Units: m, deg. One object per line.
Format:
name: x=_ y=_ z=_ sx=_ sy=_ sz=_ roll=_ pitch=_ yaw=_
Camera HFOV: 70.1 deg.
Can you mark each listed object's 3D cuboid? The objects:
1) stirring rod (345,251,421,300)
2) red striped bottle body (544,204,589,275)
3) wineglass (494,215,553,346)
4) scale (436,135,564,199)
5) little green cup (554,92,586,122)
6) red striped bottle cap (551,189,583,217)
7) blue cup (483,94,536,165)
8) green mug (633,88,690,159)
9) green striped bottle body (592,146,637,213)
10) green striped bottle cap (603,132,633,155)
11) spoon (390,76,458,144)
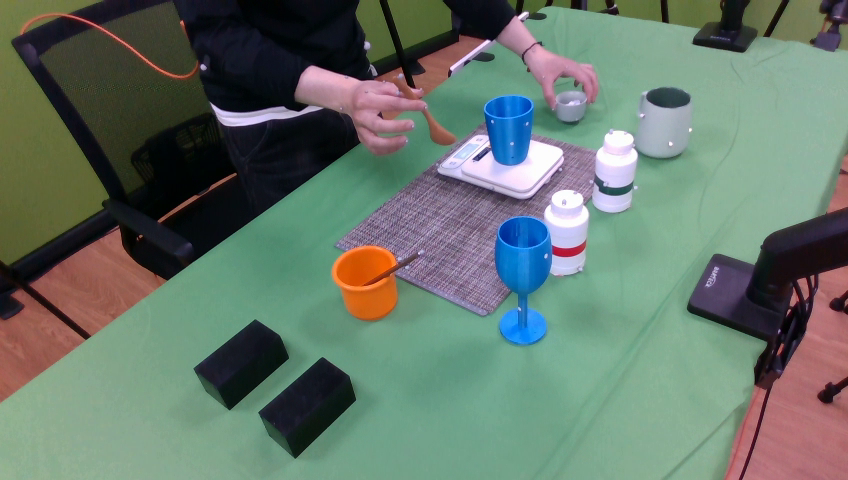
stirring rod: x=-0.060 y=0.051 z=0.829 sx=0.175 sy=0.006 sz=0.014 roll=-32 pitch=18 yaw=44
red striped bottle body: x=0.206 y=-0.011 z=0.877 sx=0.063 sy=0.120 sz=0.062 roll=-5 pitch=41 yaw=4
wineglass: x=0.126 y=0.055 z=0.770 sx=0.074 sy=0.173 sz=0.073 roll=-4 pitch=40 yaw=4
scale: x=0.137 y=-0.141 z=1.101 sx=0.199 sy=0.032 sz=0.149 roll=22 pitch=48 yaw=30
little green cup: x=0.290 y=-0.265 z=1.204 sx=0.061 sy=0.039 sz=0.061 roll=-4 pitch=40 yaw=4
red striped bottle cap: x=0.200 y=-0.052 z=0.843 sx=0.044 sy=0.018 sz=0.044 roll=-2 pitch=42 yaw=2
blue cup: x=0.149 y=-0.188 z=1.053 sx=0.092 sy=0.100 sz=0.092 roll=-6 pitch=40 yaw=5
green mug: x=0.423 y=-0.217 z=1.099 sx=0.093 sy=0.105 sz=0.124 roll=-16 pitch=41 yaw=-10
green striped bottle body: x=0.307 y=-0.108 z=0.976 sx=0.063 sy=0.120 sz=0.063 roll=-4 pitch=41 yaw=4
green striped bottle cap: x=0.302 y=-0.149 z=0.939 sx=0.044 sy=0.020 sz=0.044 roll=-3 pitch=40 yaw=3
spoon: x=-0.001 y=-0.187 z=0.887 sx=0.041 sy=0.195 sz=0.021 roll=-1 pitch=67 yaw=28
